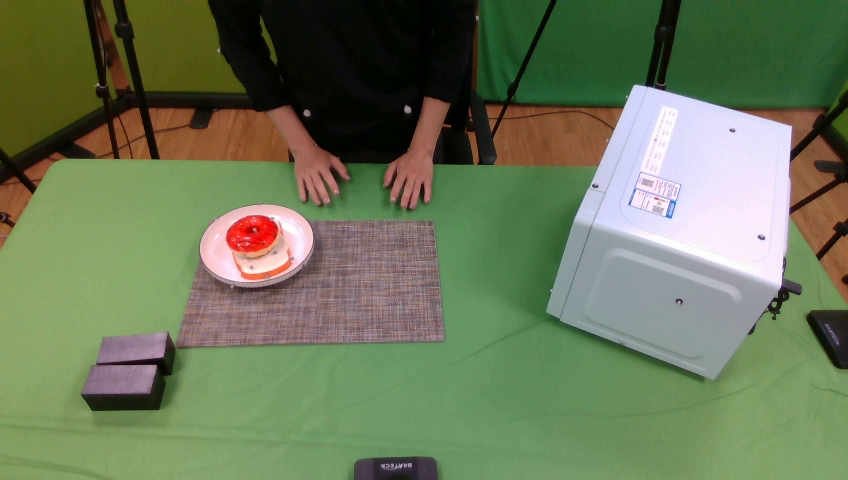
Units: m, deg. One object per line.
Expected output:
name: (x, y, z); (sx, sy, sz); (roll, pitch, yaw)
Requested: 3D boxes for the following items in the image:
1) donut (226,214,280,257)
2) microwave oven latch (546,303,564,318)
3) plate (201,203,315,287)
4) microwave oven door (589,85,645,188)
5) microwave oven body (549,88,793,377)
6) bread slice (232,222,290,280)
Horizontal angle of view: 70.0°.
donut: (-0.318, -0.010, 1.127); (0.099, 0.048, 0.098); (0, 45, 0)
microwave oven latch: (0.242, 0.102, 1.081); (0.030, 0.029, 0.079); (22, 48, 17)
plate: (-0.310, 0.012, 1.145); (0.208, 0.039, 0.206); (2, 46, -2)
microwave oven door: (0.342, -0.107, 1.149); (0.039, 0.245, 0.354); (20, 48, 15)
microwave oven body: (0.456, -0.028, 1.087); (0.325, 0.261, 0.440); (20, 47, 16)
bread slice: (-0.308, 0.019, 1.141); (0.105, 0.019, 0.130); (-17, 48, -18)
